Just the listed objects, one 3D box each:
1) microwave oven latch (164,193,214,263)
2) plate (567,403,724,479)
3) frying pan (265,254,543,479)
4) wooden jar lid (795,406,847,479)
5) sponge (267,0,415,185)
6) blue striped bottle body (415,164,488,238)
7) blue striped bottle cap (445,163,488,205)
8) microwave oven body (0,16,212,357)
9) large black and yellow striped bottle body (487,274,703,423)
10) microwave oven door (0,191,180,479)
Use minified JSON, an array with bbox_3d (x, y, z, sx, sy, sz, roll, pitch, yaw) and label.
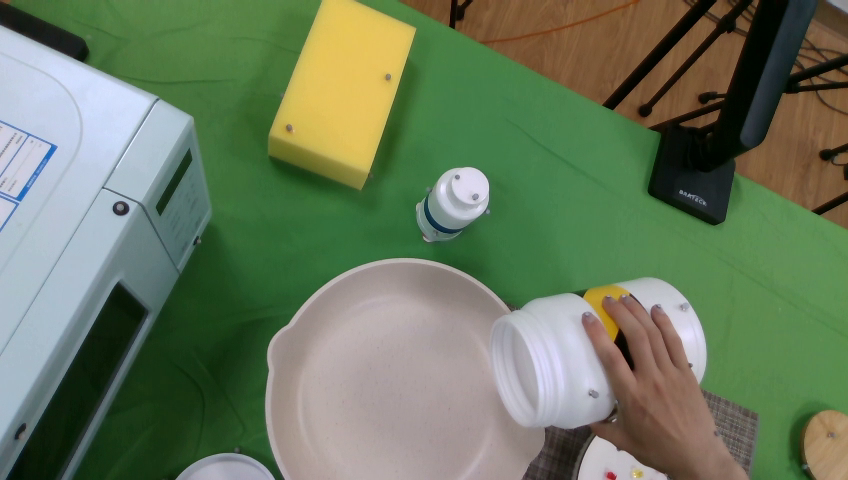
[{"bbox_3d":[-0.251,-0.017,0.638,0.030,0.029,0.079,27,71,-8],"label":"microwave oven latch"},{"bbox_3d":[0.260,0.301,0.720,0.210,0.038,0.208,4,75,-15],"label":"plate"},{"bbox_3d":[-0.052,0.250,0.609,0.307,0.103,0.485,23,63,-7],"label":"frying pan"},{"bbox_3d":[0.549,0.281,0.823,0.109,0.021,0.108,4,76,-14],"label":"wooden jar lid"},{"bbox_3d":[-0.099,-0.186,0.732,0.118,0.061,0.206,19,72,-11],"label":"sponge"},{"bbox_3d":[0.034,-0.047,0.703,0.063,0.121,0.062,4,75,-14],"label":"blue striped bottle body"},{"bbox_3d":[0.046,-0.061,0.656,0.045,0.020,0.044,4,77,-14],"label":"blue striped bottle cap"},{"bbox_3d":[-0.421,0.053,0.468,0.327,0.260,0.439,25,71,-9],"label":"microwave oven body"},{"bbox_3d":[0.170,0.112,0.621,0.184,0.131,0.130,-9,78,-18],"label":"large black and yellow striped bottle body"},{"bbox_3d":[-0.303,0.149,0.472,0.039,0.244,0.354,24,70,-8],"label":"microwave oven door"}]
